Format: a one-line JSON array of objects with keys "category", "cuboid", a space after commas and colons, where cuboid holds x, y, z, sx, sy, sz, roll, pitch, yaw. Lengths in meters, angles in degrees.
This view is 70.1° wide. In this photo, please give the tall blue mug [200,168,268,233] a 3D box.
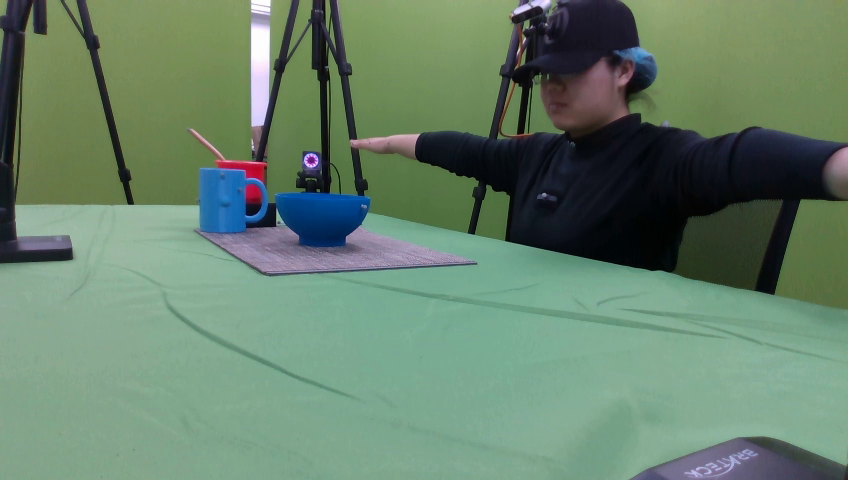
[{"category": "tall blue mug", "cuboid": [-0.342, -0.071, 1.072, 0.077, 0.108, 0.108, 8, 9, 38]}]

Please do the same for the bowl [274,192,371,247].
[{"category": "bowl", "cuboid": [-0.161, -0.033, 0.958, 0.151, 0.077, 0.151, 3, 7, 0]}]

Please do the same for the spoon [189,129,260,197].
[{"category": "spoon", "cuboid": [-0.389, -0.150, 1.174, 0.193, 0.021, 0.042, 49, 20, 7]}]

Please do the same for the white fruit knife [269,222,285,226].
[{"category": "white fruit knife", "cuboid": [-0.222, -0.037, 1.261, 0.208, 0.016, 0.027, -4, -18, -31]}]
